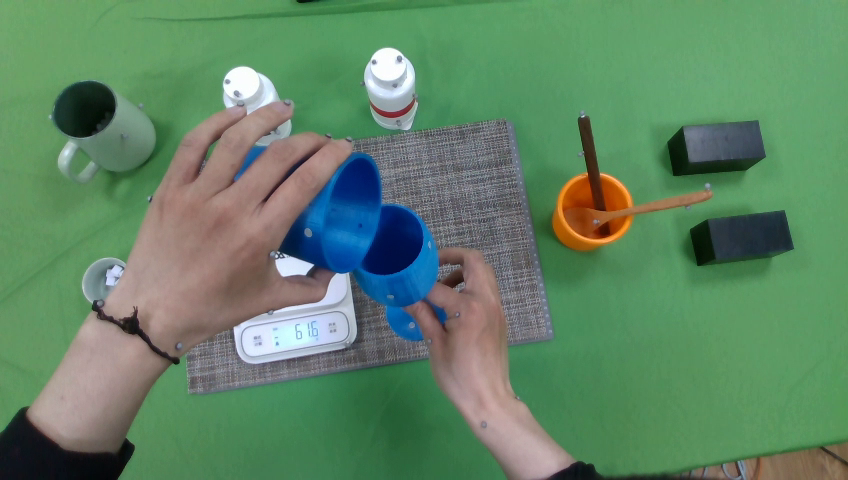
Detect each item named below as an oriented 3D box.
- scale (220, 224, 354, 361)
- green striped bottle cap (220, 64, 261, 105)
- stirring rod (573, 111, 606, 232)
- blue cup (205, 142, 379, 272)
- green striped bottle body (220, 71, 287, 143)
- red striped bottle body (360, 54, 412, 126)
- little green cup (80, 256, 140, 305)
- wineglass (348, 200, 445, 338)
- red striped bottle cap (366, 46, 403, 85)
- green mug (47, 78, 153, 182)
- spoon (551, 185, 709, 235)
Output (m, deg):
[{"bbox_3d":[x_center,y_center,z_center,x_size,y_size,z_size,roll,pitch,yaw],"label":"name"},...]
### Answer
[{"bbox_3d":[-0.173,0.042,0.760,0.149,0.031,0.200,-9,78,-2],"label":"scale"},{"bbox_3d":[-0.216,-0.183,0.710,0.044,0.020,0.044,0,77,1],"label":"green striped bottle cap"},{"bbox_3d":[0.201,-0.077,0.732,0.014,0.178,0.006,2,42,30],"label":"stirring rod"},{"bbox_3d":[-0.096,-0.030,0.430,0.100,0.093,0.092,14,77,19],"label":"blue cup"},{"bbox_3d":[-0.216,-0.169,0.765,0.063,0.119,0.063,0,77,0],"label":"green striped bottle body"},{"bbox_3d":[-0.047,-0.196,0.772,0.063,0.120,0.062,0,78,0],"label":"red striped bottle body"},{"bbox_3d":[-0.389,0.053,0.756,0.061,0.039,0.061,0,78,-1],"label":"little green cup"},{"bbox_3d":[-0.021,0.032,0.529,0.073,0.173,0.073,-3,66,6],"label":"wineglass"},{"bbox_3d":[-0.047,-0.208,0.720,0.044,0.018,0.044,0,74,0],"label":"red striped bottle cap"},{"bbox_3d":[-0.413,-0.130,0.762,0.092,0.105,0.125,26,79,5],"label":"green mug"},{"bbox_3d":[0.239,-0.038,0.725,0.022,0.193,0.041,-4,84,-45],"label":"spoon"}]
